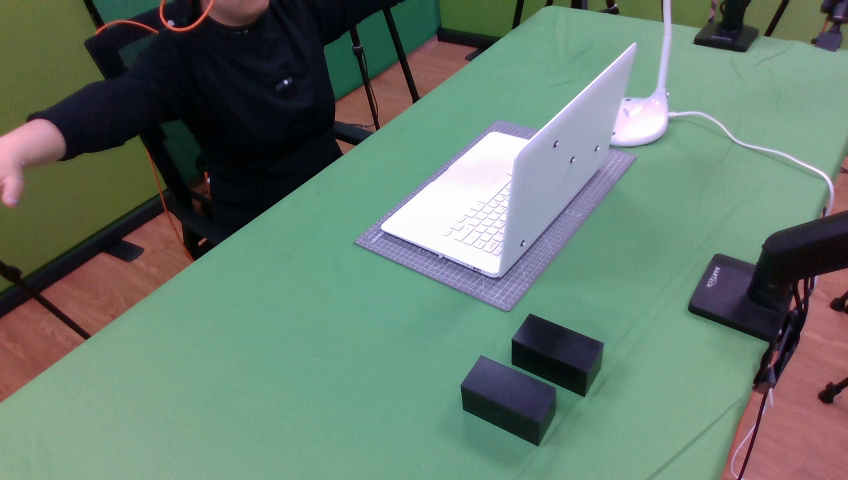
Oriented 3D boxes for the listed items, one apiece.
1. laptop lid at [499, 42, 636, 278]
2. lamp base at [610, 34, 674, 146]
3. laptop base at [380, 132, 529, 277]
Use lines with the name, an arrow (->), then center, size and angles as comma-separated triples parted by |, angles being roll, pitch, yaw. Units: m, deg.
laptop lid -> 0.217, -0.122, 0.898 | 0.013, 0.242, 0.358 | 28, 50, 25
lamp base -> 0.392, -0.291, 1.129 | 0.180, 0.181, 0.159 | -11, 41, -8
laptop base -> 0.122, -0.077, 1.042 | 0.233, 0.023, 0.355 | 20, 47, 33
